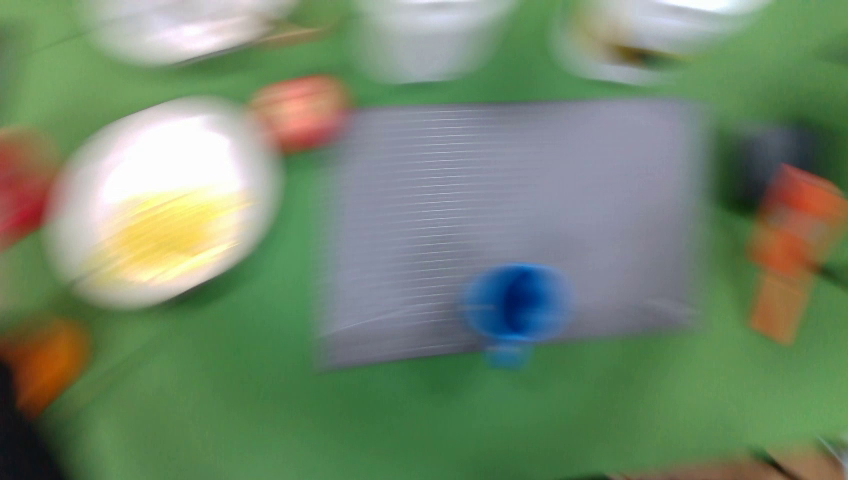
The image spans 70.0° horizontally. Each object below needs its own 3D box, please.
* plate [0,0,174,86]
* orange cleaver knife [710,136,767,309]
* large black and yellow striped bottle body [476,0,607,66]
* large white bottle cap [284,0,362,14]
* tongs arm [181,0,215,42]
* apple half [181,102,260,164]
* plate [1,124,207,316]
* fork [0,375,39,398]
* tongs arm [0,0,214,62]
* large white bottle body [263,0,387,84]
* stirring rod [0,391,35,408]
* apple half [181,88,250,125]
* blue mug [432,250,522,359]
[{"bbox_3d":[-0.386,-0.271,0.679,0.208,0.039,0.207,1,86,-7],"label":"plate"},{"bbox_3d":[0.371,-0.018,0.730,0.012,0.076,0.213,-10,117,-8],"label":"orange cleaver knife"},{"bbox_3d":[0.137,-0.288,0.674,0.131,0.184,0.130,1,84,-6],"label":"large black and yellow striped bottle body"},{"bbox_3d":[-0.095,-0.266,0.556,0.115,0.018,0.114,1,85,-7],"label":"large white bottle cap"},{"bbox_3d":[-0.385,-0.336,0.654,0.388,0.028,0.028,33,76,-1],"label":"tongs arm"},{"bbox_3d":[-0.218,-0.112,0.671,0.081,0.074,0.053,-24,92,-12],"label":"apple half"},{"bbox_3d":[-0.343,-0.022,0.664,0.209,0.038,0.208,1,86,-7],"label":"plate"},{"bbox_3d":[-0.485,0.142,0.576,0.209,0.018,0.028,15,81,-49],"label":"fork"},{"bbox_3d":[-0.419,-0.260,0.642,0.385,0.026,0.050,20,80,-3],"label":"tongs arm"},{"bbox_3d":[-0.104,-0.258,0.641,0.131,0.184,0.130,1,84,-7],"label":"large white bottle body"},{"bbox_3d":[-0.473,0.162,0.578,0.177,0.006,0.014,5,69,-47],"label":"stirring rod"},{"bbox_3d":[-0.234,-0.148,0.670,0.081,0.081,0.033,-24,93,-8],"label":"apple half"},{"bbox_3d":[0.056,0.073,0.671,0.082,0.106,0.116,-1,85,-7],"label":"blue mug"}]
